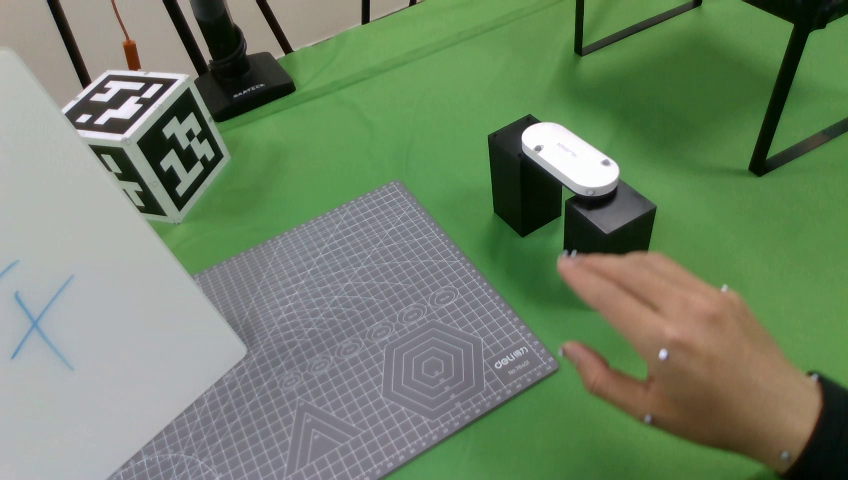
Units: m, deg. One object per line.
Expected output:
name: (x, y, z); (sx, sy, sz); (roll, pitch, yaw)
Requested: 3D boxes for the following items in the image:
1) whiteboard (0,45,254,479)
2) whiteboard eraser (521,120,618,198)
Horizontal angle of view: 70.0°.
whiteboard: (-0.327, 0.042, 0.478); (0.217, 0.308, 0.142); (-44, 35, -26)
whiteboard eraser: (0.122, -0.072, 0.515); (0.041, 0.019, 0.100); (-29, 50, -17)
